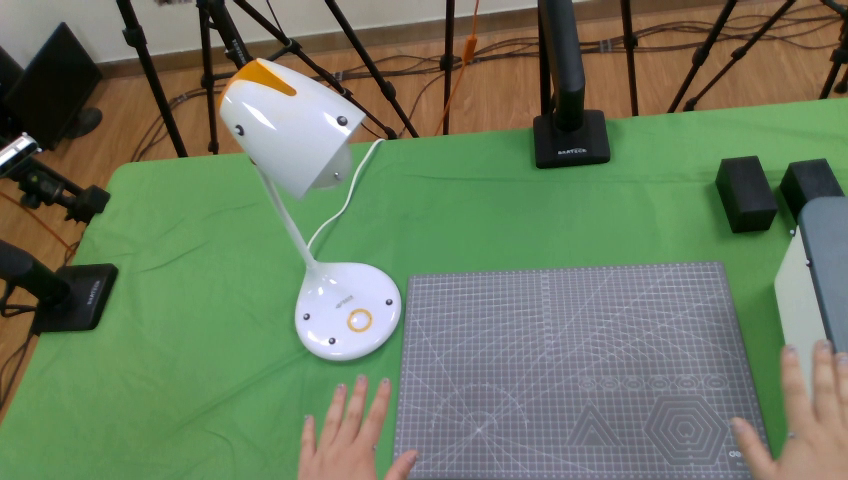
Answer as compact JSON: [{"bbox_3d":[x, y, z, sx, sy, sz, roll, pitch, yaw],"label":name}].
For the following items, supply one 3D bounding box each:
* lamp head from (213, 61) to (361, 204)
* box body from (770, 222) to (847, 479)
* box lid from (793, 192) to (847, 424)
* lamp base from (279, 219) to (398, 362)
[{"bbox_3d":[-0.141,-0.111,0.592,0.123,0.112,0.112,34,64,-7],"label":"lamp head"},{"bbox_3d":[0.549,0.139,0.649,0.253,0.162,0.361,0,55,12],"label":"box body"},{"bbox_3d":[0.537,0.095,0.591,0.263,0.015,0.368,0,56,12],"label":"box lid"},{"bbox_3d":[-0.139,0.057,0.840,0.177,0.182,0.160,32,67,32],"label":"lamp base"}]
